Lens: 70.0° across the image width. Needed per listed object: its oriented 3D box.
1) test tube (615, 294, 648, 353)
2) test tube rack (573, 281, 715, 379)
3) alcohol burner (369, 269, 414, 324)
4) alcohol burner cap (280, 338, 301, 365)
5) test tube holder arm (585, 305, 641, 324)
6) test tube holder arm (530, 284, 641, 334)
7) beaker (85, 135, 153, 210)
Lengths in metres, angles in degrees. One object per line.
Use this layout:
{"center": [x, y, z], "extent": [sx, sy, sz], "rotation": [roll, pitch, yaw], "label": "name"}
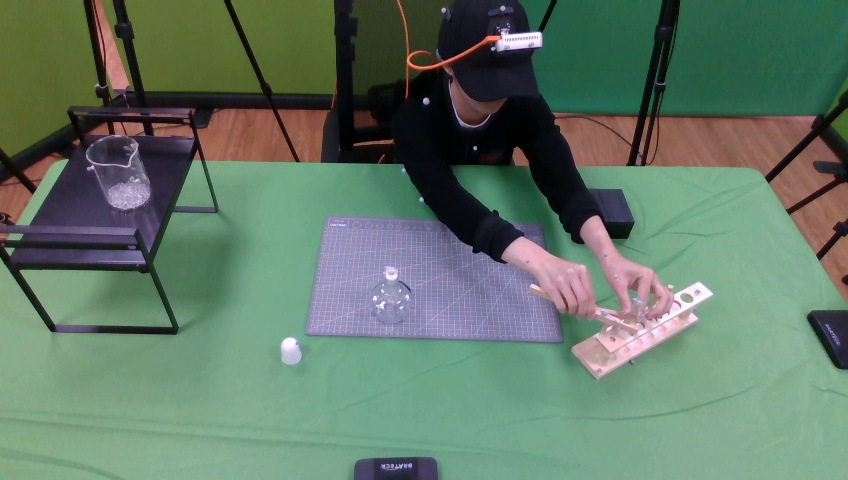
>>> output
{"center": [0.323, 0.134, 0.955], "extent": [0.017, 0.151, 0.017], "rotation": [2, 48, -2], "label": "test tube"}
{"center": [0.378, 0.140, 1.038], "extent": [0.242, 0.085, 0.066], "rotation": [-22, 51, -23], "label": "test tube rack"}
{"center": [-0.056, 0.089, 1.037], "extent": [0.078, 0.120, 0.077], "rotation": [1, 48, -1], "label": "alcohol burner"}
{"center": [-0.220, 0.179, 0.993], "extent": [0.034, 0.048, 0.033], "rotation": [2, 46, -2], "label": "alcohol burner cap"}
{"center": [0.297, 0.117, 0.955], "extent": [0.088, 0.015, 0.010], "rotation": [10, 46, 2], "label": "test tube holder arm"}
{"center": [0.253, 0.108, 0.958], "extent": [0.178, 0.015, 0.013], "rotation": [21, 46, 12], "label": "test tube holder arm"}
{"center": [-0.475, -0.102, 0.957], "extent": [0.083, 0.101, 0.074], "rotation": [34, 53, 26], "label": "beaker"}
